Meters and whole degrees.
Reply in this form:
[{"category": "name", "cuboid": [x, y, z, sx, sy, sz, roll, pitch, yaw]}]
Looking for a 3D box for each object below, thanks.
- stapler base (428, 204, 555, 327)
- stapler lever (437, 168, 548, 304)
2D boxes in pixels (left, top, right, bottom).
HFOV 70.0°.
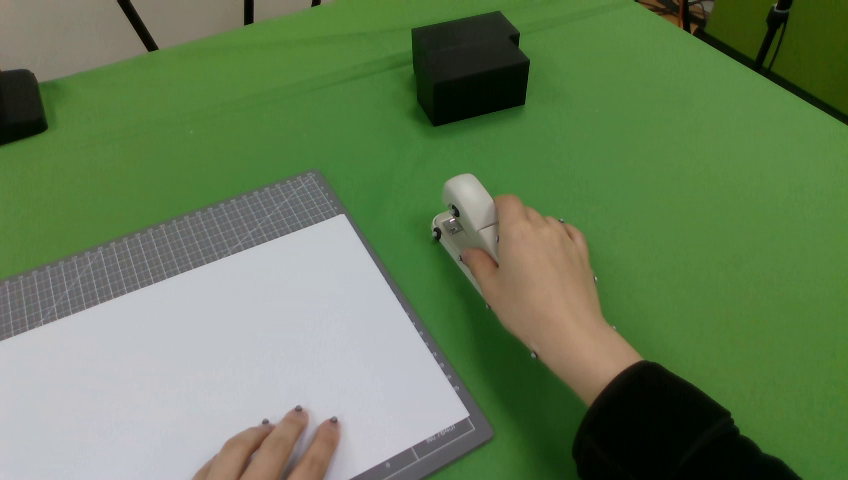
[{"category": "stapler base", "cuboid": [0.048, 0.008, 0.467, 0.041, 0.024, 0.129, -26, 54, -15]}, {"category": "stapler lever", "cuboid": [0.048, -0.008, 0.447, 0.027, 0.040, 0.117, -26, 55, -15]}]
